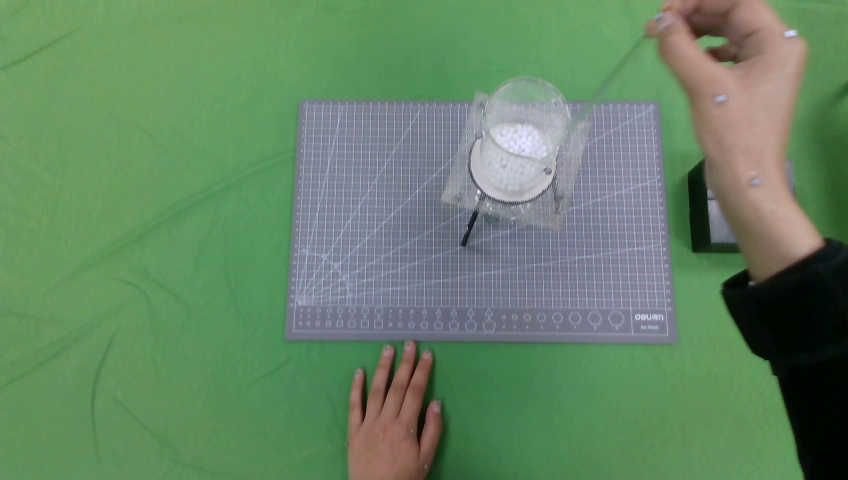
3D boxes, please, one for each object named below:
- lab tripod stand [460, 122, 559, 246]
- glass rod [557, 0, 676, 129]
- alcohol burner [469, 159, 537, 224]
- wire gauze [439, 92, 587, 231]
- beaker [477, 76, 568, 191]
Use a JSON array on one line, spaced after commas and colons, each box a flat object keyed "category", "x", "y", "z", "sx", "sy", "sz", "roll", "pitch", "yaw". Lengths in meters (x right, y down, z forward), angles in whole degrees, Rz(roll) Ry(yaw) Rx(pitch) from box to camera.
[{"category": "lab tripod stand", "x": 0.086, "y": -0.066, "z": 0.669, "sx": 0.148, "sy": 0.132, "sz": 0.147, "roll": 0, "pitch": 76, "yaw": 2}, {"category": "glass rod", "x": 0.138, "y": -0.131, "z": 0.399, "sx": 0.008, "sy": 0.200, "sz": 0.008, "roll": 8, "pitch": 64, "yaw": -16}, {"category": "alcohol burner", "x": 0.090, "y": -0.059, "z": 0.678, "sx": 0.078, "sy": 0.119, "sz": 0.077, "roll": 0, "pitch": 78, "yaw": 2}, {"category": "wire gauze", "x": 0.091, "y": -0.079, "z": 0.604, "sx": 0.121, "sy": 0.011, "sz": 0.124, "roll": 18, "pitch": 76, "yaw": 4}, {"category": "beaker", "x": 0.087, "y": -0.089, "z": 0.558, "sx": 0.074, "sy": 0.100, "sz": 0.083, "roll": -27, "pitch": 78, "yaw": -5}]
